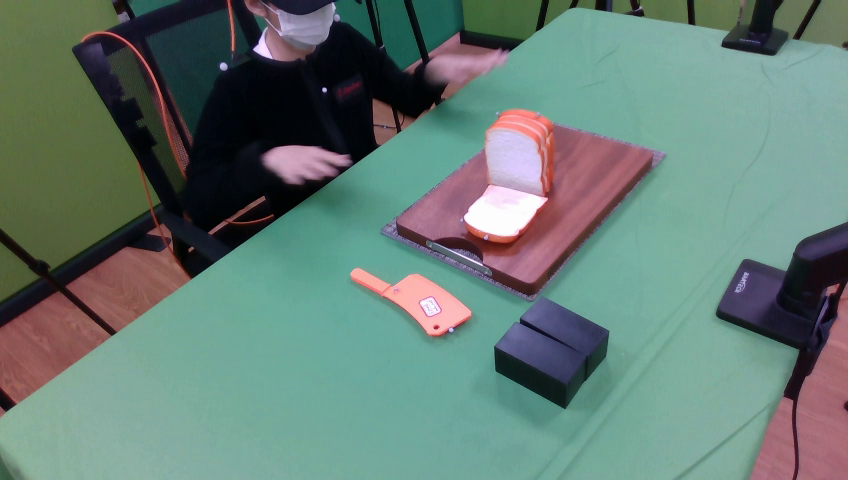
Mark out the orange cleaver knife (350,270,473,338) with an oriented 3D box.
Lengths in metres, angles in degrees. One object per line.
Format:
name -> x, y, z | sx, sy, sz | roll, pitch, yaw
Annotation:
orange cleaver knife -> -0.023, 0.080, 0.889 | 0.209, 0.012, 0.077 | 27, 54, 37

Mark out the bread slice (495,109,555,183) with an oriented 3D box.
bread slice -> 0.167, -0.155, 1.000 | 0.106, 0.135, 0.018 | 18, 53, 19
